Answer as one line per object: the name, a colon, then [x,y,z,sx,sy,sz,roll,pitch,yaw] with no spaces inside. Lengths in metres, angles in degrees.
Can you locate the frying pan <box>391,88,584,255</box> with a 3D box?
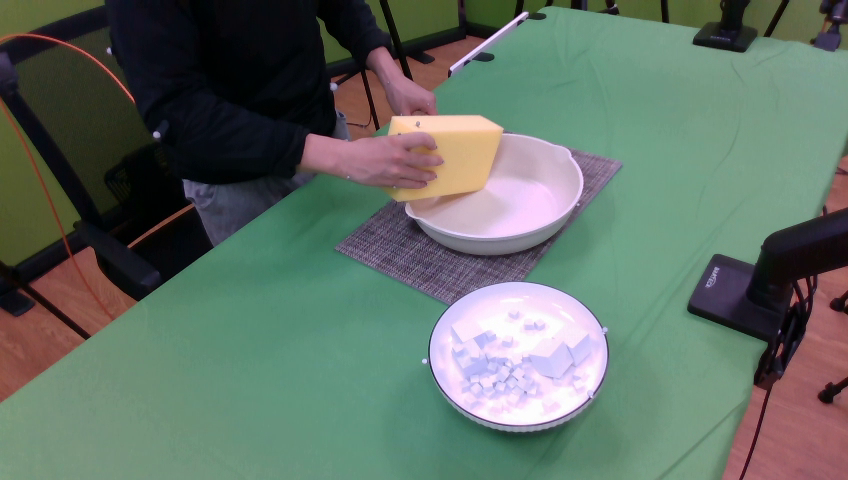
frying pan: [0.063,-0.143,1.057,0.308,0.103,0.483,-22,51,-18]

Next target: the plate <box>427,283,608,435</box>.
plate: [0.108,0.137,0.708,0.207,0.039,0.206,-4,42,4]

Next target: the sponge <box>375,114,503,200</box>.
sponge: [0.028,-0.139,0.985,0.208,0.118,0.060,-12,39,-44]
